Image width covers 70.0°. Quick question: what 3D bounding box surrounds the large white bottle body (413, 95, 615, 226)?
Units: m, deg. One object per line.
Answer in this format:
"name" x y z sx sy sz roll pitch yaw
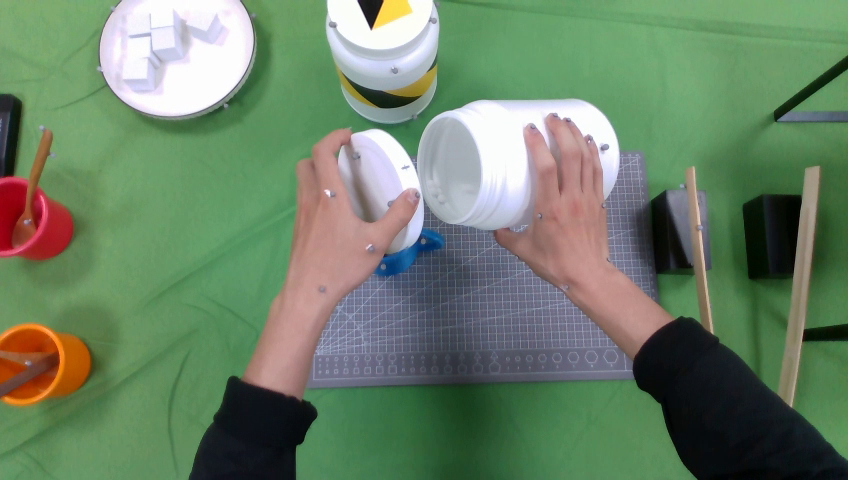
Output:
"large white bottle body" 0.093 -0.085 0.632 0.185 0.130 0.130 -9 77 -35

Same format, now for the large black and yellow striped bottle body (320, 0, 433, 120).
"large black and yellow striped bottle body" -0.054 -0.241 0.743 0.131 0.184 0.130 0 78 0

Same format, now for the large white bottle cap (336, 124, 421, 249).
"large white bottle cap" -0.044 -0.047 0.553 0.018 0.115 0.114 -21 78 -34

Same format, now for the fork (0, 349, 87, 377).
"fork" -0.494 0.125 0.686 0.209 0.018 0.028 26 74 -40

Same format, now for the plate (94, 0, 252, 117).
"plate" -0.333 -0.260 0.818 0.208 0.039 0.206 0 79 0

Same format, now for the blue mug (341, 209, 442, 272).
"blue mug" -0.037 -0.008 0.736 0.116 0.106 0.082 5 79 0

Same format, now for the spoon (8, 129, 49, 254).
"spoon" -0.471 -0.055 0.724 0.041 0.021 0.194 44 125 11

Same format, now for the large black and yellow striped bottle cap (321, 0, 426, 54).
"large black and yellow striped bottle cap" -0.055 -0.260 0.661 0.115 0.019 0.114 0 80 -2

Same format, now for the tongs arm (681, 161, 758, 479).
"tongs arm" 0.352 0.095 0.723 0.051 0.026 0.384 -6 91 -4

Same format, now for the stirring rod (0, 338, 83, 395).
"stirring rod" -0.470 0.162 0.686 0.014 0.006 0.176 45 39 4

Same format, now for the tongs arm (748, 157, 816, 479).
"tongs arm" 0.434 0.093 0.727 0.028 0.027 0.387 7 91 -8
